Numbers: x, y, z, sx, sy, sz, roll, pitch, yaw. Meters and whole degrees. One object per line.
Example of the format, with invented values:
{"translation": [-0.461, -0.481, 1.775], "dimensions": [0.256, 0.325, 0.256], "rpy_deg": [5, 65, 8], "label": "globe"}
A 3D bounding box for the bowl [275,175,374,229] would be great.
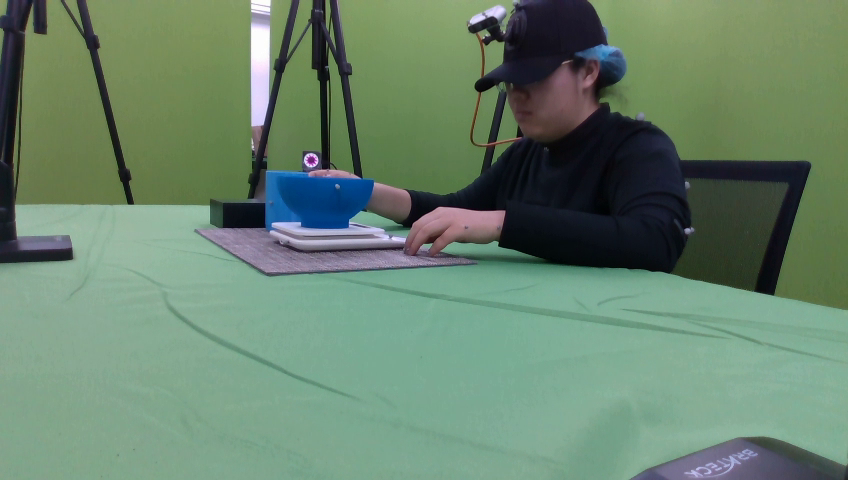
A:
{"translation": [-0.152, -0.059, 0.933], "dimensions": [0.151, 0.077, 0.151], "rpy_deg": [2, 7, 0], "label": "bowl"}

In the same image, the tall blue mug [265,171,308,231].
{"translation": [-0.248, -0.073, 1.121], "dimensions": [0.078, 0.108, 0.107], "rpy_deg": [3, 8, 8], "label": "tall blue mug"}

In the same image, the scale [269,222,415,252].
{"translation": [-0.130, -0.008, 0.958], "dimensions": [0.202, 0.031, 0.148], "rpy_deg": [-1, 9, -32], "label": "scale"}
